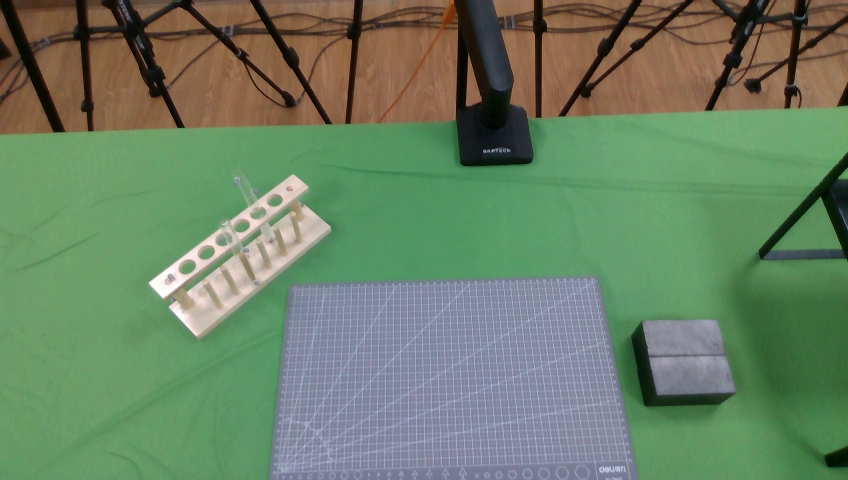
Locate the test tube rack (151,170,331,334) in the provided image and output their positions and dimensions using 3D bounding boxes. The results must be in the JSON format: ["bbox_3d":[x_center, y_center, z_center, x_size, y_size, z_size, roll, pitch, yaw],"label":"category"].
[{"bbox_3d":[-0.248,0.014,0.853,0.066,0.086,0.242,39,67,21],"label":"test tube rack"}]

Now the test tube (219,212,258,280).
[{"bbox_3d":[-0.244,0.010,0.803,0.017,0.152,0.017,0,57,0],"label":"test tube"}]

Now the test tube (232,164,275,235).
[{"bbox_3d":[-0.231,-0.052,0.834,0.017,0.151,0.017,-2,57,4],"label":"test tube"}]
